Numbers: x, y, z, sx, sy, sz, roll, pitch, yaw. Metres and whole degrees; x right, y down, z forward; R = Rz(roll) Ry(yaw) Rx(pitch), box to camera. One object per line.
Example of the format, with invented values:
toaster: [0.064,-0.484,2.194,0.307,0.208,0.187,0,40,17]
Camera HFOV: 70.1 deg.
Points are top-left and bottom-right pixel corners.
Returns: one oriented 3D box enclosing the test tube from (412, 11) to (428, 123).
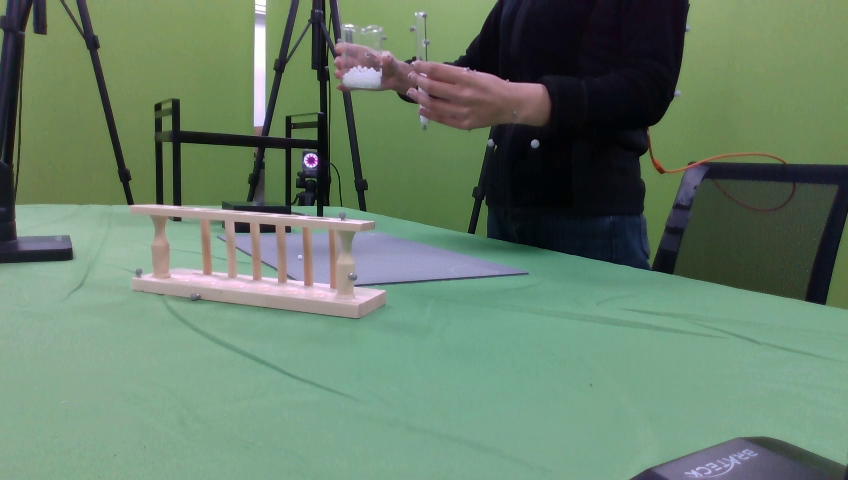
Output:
test tube: [-0.005,-0.239,0.842,0.017,0.150,0.017,-3,17,1]

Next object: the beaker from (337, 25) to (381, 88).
beaker: [-0.112,-0.315,1.044,0.074,0.100,0.084,-1,13,-9]

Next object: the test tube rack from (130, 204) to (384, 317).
test tube rack: [-0.163,0.013,0.589,0.242,0.085,0.067,5,8,17]
